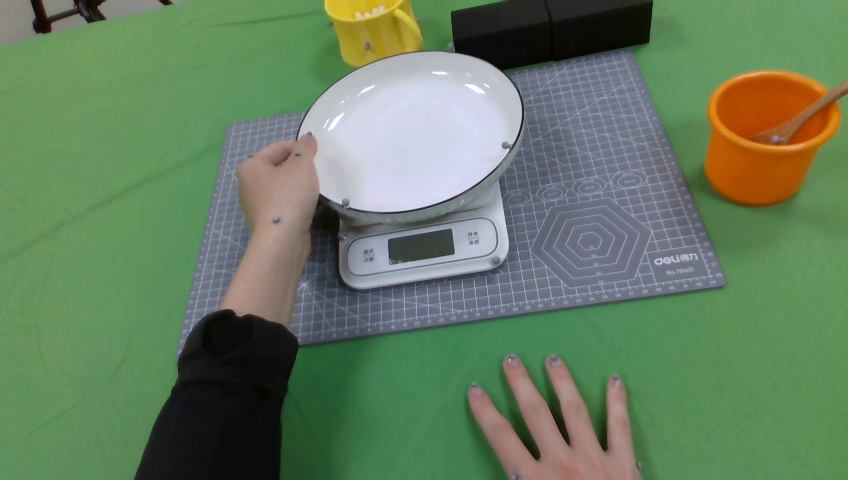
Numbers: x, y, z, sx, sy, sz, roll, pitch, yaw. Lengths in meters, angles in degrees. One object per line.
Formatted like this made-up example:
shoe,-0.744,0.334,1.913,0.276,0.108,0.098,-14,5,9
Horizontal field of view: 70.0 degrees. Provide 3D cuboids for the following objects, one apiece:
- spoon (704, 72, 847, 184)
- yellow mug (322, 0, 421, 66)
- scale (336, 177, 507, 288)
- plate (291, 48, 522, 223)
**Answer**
spoon,0.299,-0.104,0.453,0.022,0.194,0.041,16,50,-30
yellow mug,-0.050,-0.252,0.700,0.129,0.064,0.100,34,68,31
scale,-0.007,-0.053,0.559,0.148,0.032,0.199,-9,53,7
plate,-0.015,-0.095,0.550,0.209,0.038,0.207,-6,53,8
